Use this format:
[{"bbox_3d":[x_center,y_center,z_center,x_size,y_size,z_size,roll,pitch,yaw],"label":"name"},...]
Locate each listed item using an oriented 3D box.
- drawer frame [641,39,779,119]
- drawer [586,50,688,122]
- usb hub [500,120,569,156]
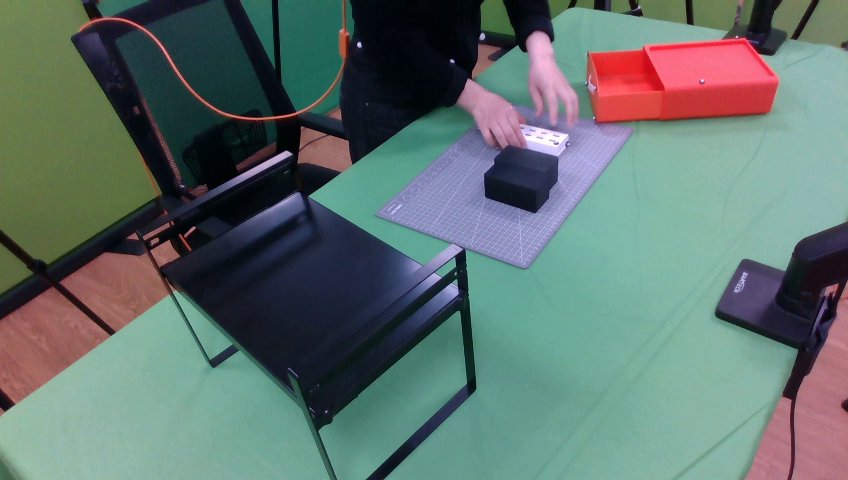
[{"bbox_3d":[0.563,-0.329,1.227,0.213,0.083,0.201,-2,40,5],"label":"drawer frame"},{"bbox_3d":[0.447,-0.323,1.242,0.211,0.073,0.193,-1,41,7],"label":"drawer"},{"bbox_3d":[0.213,-0.198,1.167,0.124,0.025,0.049,21,49,29],"label":"usb hub"}]
